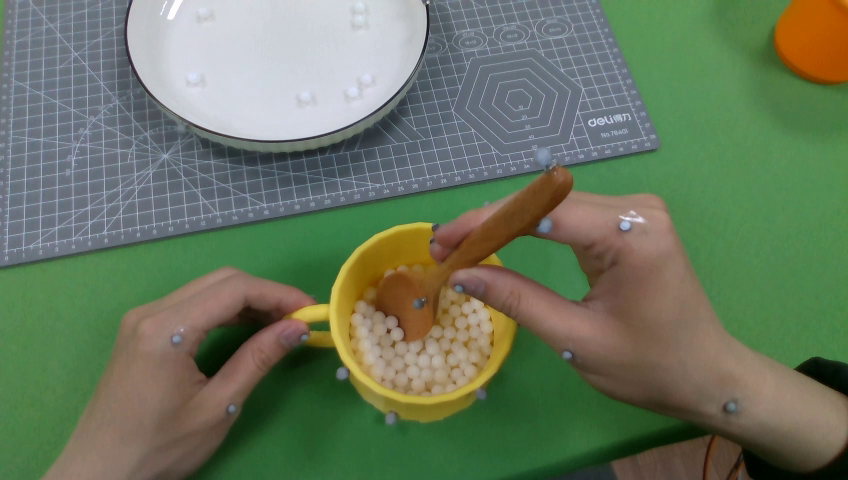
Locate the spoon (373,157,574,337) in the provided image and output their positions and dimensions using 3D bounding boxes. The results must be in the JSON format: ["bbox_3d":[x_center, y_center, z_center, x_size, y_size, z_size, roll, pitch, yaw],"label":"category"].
[{"bbox_3d":[0.012,0.012,0.279,0.022,0.194,0.041,-25,81,-25],"label":"spoon"}]

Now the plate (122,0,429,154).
[{"bbox_3d":[-0.100,-0.147,0.432,0.208,0.039,0.206,1,67,-3],"label":"plate"}]

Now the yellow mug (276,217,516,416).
[{"bbox_3d":[-0.017,0.046,0.343,0.131,0.064,0.099,-3,67,-3],"label":"yellow mug"}]
